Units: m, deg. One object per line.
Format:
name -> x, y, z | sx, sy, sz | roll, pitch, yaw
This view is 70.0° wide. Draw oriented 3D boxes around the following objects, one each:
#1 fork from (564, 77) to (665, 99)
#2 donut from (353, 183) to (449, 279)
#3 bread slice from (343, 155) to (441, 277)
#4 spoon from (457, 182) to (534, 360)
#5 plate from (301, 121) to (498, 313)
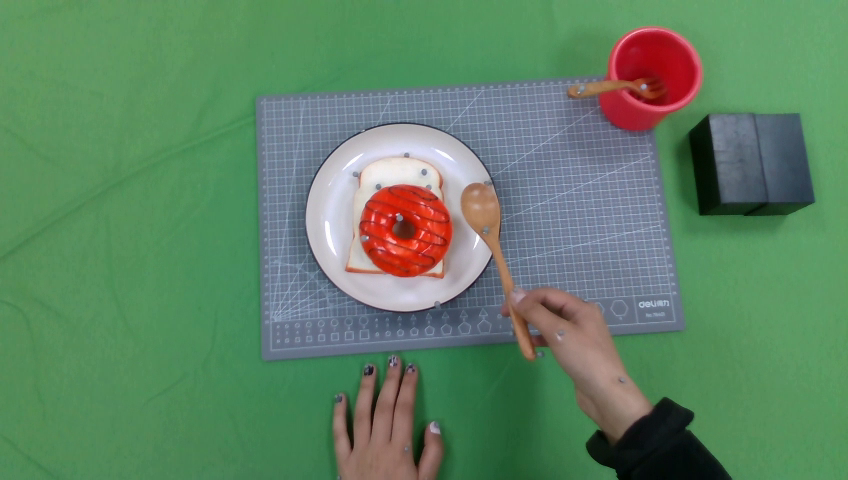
fork -> 0.200, -0.157, 0.626 | 0.208, 0.018, 0.028 | -16, 75, -47
donut -> -0.023, -0.010, 0.619 | 0.099, 0.048, 0.098 | 1, 82, -4
bread slice -> -0.032, -0.028, 0.653 | 0.105, 0.019, 0.131 | 2, 80, -2
spoon -> 0.070, 0.024, 0.578 | 0.042, 0.022, 0.191 | -6, 56, -15
plate -> -0.025, -0.024, 0.650 | 0.209, 0.038, 0.208 | 0, 79, -1
